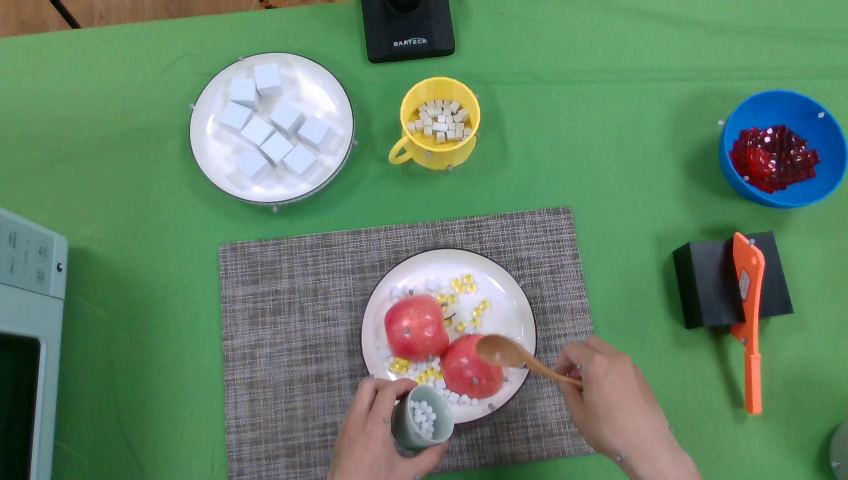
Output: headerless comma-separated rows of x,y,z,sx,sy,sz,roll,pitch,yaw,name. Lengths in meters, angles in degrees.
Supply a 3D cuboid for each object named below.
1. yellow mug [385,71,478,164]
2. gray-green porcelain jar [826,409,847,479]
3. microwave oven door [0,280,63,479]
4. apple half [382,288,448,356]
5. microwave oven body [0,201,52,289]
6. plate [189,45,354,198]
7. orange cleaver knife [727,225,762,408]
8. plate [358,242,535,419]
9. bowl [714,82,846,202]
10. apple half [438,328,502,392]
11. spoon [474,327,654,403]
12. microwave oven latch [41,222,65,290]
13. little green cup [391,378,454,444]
0.004,-0.145,0.769,0.131,0.064,0.099,-38,80,-8,yellow mug
0.518,0.233,0.657,0.106,0.127,0.105,0,77,-1,gray-green porcelain jar
-0.438,0.210,0.575,0.039,0.245,0.354,-4,77,-1,microwave oven door
-0.012,0.095,0.709,0.075,0.053,0.080,-9,78,0,apple half
-0.587,0.178,0.586,0.326,0.261,0.439,-3,78,-2,microwave oven body
-0.193,-0.150,0.782,0.208,0.039,0.206,0,77,0,plate
0.374,0.090,0.710,0.012,0.077,0.212,-5,101,2,orange cleaver knife
0.026,0.106,0.722,0.209,0.038,0.208,0,78,-1,plate
0.428,-0.111,0.758,0.151,0.077,0.150,0,78,0,bowl
0.054,0.141,0.708,0.081,0.033,0.081,0,74,1,apple half
0.137,0.131,0.622,0.192,0.021,0.042,18,120,34,spoon
-0.450,0.020,0.722,0.030,0.029,0.079,-1,78,-1,microwave oven latch
-0.003,0.179,0.628,0.062,0.039,0.061,19,41,-17,little green cup
